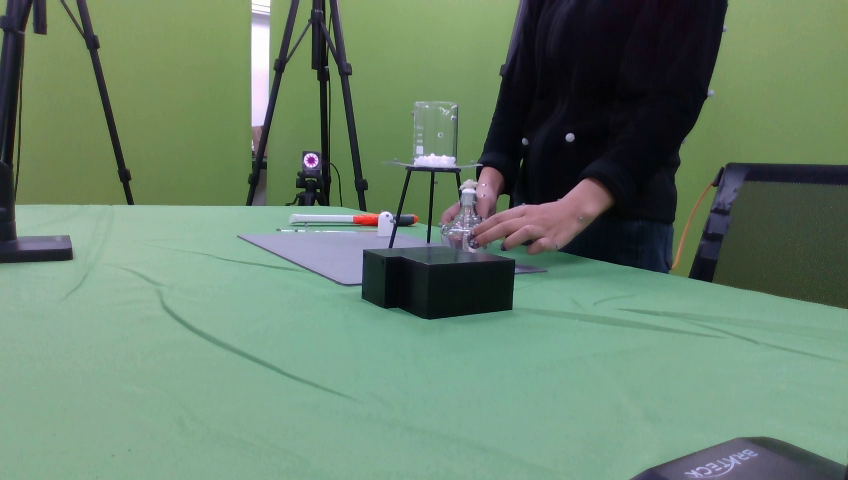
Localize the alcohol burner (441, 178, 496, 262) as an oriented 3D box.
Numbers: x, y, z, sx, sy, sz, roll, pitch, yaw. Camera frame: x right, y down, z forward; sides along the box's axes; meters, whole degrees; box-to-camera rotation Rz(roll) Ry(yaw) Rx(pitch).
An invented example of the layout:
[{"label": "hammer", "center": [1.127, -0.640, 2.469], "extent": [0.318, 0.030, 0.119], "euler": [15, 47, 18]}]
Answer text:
[{"label": "alcohol burner", "center": [0.064, -0.029, 0.858], "extent": [0.078, 0.119, 0.078], "euler": [1, 9, 0]}]

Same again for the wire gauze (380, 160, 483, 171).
[{"label": "wire gauze", "center": [0.011, -0.119, 0.951], "extent": [0.122, 0.011, 0.124], "euler": [-5, 12, -32]}]

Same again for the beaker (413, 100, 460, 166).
[{"label": "beaker", "center": [0.020, -0.167, 0.953], "extent": [0.073, 0.100, 0.084], "euler": [6, 9, 26]}]

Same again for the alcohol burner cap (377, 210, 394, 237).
[{"label": "alcohol burner cap", "center": [-0.069, -0.031, 1.113], "extent": [0.034, 0.048, 0.034], "euler": [4, 9, 0]}]

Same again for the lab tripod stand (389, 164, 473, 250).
[{"label": "lab tripod stand", "center": [0.011, -0.054, 0.960], "extent": [0.148, 0.131, 0.148], "euler": [2, 9, 0]}]

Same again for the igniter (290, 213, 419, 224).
[{"label": "igniter", "center": [-0.143, -0.046, 1.288], "extent": [0.278, 0.025, 0.057], "euler": [-1, -3, -24]}]

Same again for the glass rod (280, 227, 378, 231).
[{"label": "glass rod", "center": [-0.175, -0.021, 1.161], "extent": [0.200, 0.008, 0.008], "euler": [1, 7, -15]}]
